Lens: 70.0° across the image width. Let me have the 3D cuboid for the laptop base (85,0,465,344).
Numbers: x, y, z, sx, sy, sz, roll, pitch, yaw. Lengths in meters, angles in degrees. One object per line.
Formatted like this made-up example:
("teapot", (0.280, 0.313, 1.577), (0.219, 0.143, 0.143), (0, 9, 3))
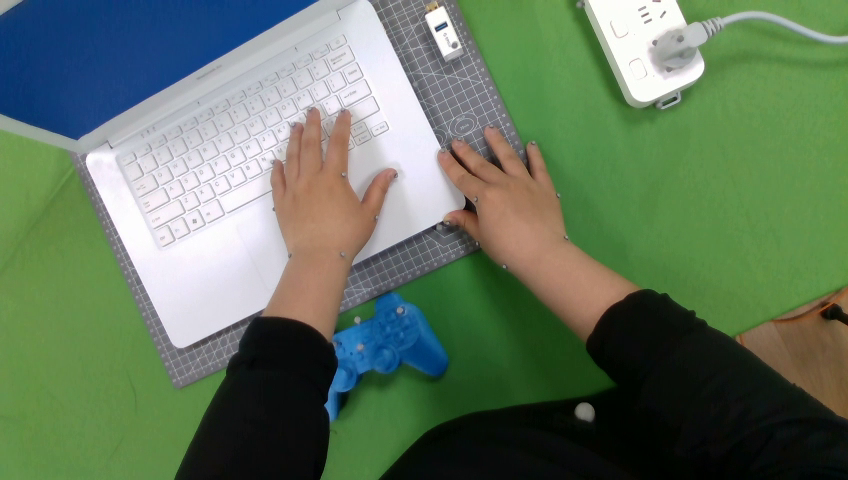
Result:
("laptop base", (-0.161, -0.066, 0.632), (0.354, 0.023, 0.235), (-26, 92, 9))

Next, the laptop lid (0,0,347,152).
("laptop lid", (-0.239, -0.183, 0.518), (0.356, 0.242, 0.013), (-27, 80, 10))

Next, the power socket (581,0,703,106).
("power socket", (0.185, -0.234, 0.565), (0.072, 0.032, 0.226), (-24, 89, 10))

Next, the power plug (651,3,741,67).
("power plug", (0.240, -0.178, 0.541), (0.072, 0.053, 0.035), (-13, 89, 5))

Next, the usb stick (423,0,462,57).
("usb stick", (0.015, -0.211, 0.591), (0.021, 0.027, 0.059), (-25, 87, 10))

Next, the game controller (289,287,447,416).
("game controller", (-0.063, 0.113, 0.615), (0.155, 0.052, 0.097), (-25, 85, 8))
